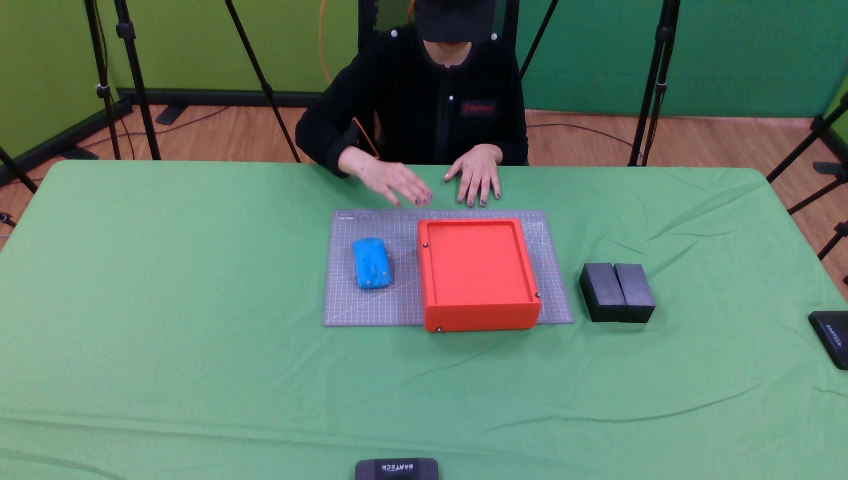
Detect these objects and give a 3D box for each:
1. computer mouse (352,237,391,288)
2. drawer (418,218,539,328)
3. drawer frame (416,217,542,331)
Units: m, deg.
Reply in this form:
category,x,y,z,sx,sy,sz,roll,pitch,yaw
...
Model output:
category,x,y,z,sx,sy,sz,roll,pitch,yaw
computer mouse,-0.100,0.039,1.140,0.063,0.041,0.116,-4,51,-11
drawer,0.092,0.056,1.108,0.195,0.073,0.210,0,47,-6
drawer frame,0.092,0.056,1.105,0.202,0.083,0.212,-1,47,-6
